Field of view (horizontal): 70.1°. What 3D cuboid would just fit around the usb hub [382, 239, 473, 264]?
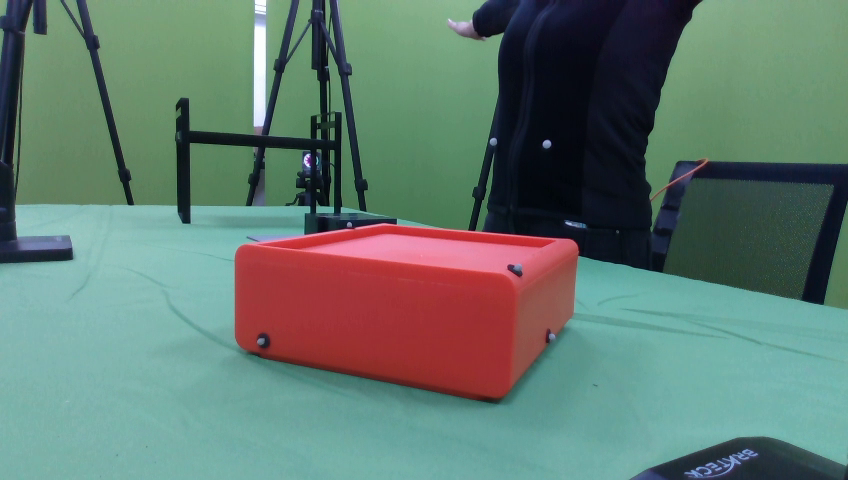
[{"bbox_3d":[0.006,0.015,0.853,0.126,0.025,0.049,-3,9,-36],"label":"usb hub"}]

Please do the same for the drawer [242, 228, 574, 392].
[{"bbox_3d":[0.001,0.041,0.476,0.194,0.073,0.212,6,9,22],"label":"drawer"}]

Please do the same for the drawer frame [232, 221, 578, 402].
[{"bbox_3d":[0.001,0.038,0.475,0.201,0.082,0.214,6,9,22],"label":"drawer frame"}]
